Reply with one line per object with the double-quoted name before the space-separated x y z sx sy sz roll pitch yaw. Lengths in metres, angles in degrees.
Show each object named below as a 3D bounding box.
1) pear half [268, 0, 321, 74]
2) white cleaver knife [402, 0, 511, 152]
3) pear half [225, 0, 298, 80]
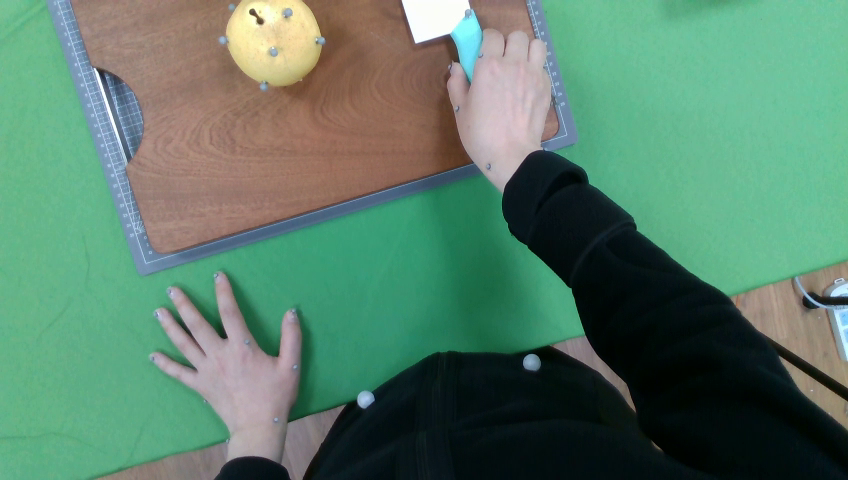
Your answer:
"pear half" -0.105 -0.181 0.514 0.031 0.088 0.070 -15 89 0
"white cleaver knife" 0.014 -0.217 0.552 0.066 0.021 0.286 -17 90 9
"pear half" -0.140 -0.174 0.503 0.056 0.110 0.076 -14 89 0
